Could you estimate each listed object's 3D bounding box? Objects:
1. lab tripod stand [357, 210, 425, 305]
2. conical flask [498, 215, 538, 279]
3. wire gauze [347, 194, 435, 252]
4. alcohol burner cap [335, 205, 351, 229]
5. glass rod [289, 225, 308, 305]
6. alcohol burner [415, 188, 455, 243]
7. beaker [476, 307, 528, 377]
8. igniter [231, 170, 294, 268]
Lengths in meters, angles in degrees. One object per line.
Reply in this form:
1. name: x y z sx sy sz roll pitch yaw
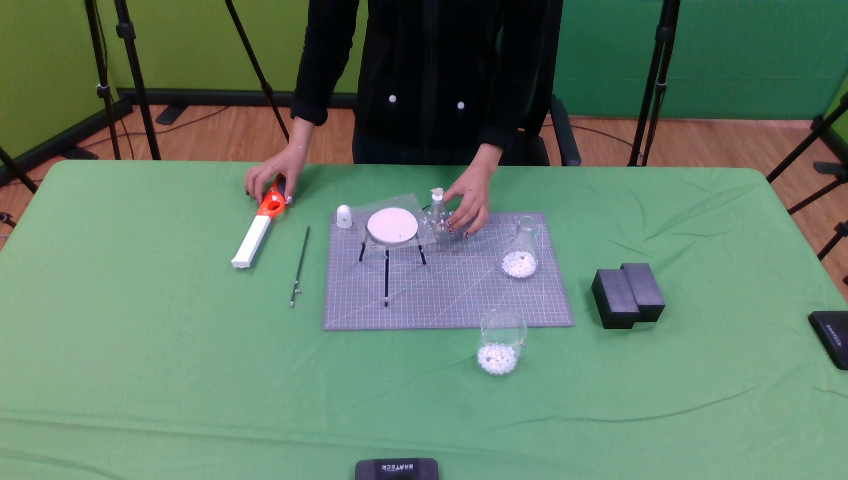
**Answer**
1. lab tripod stand: -0.060 0.020 1.094 0.148 0.132 0.147 3 44 -2
2. conical flask: 0.183 0.010 1.131 0.075 0.122 0.075 2 46 -2
3. wire gauze: -0.058 -0.029 1.048 0.125 0.011 0.120 -12 48 -16
4. alcohol burner cap: -0.164 -0.049 1.216 0.034 0.048 0.033 1 45 -1
5. glass rod: -0.236 0.043 1.149 0.008 0.008 0.198 3 46 -1
6. alcohol burner: 0.022 -0.052 1.185 0.078 0.120 0.077 1 46 -1
7. beaker: 0.122 0.171 0.991 0.084 0.101 0.073 -34 56 -30
8. igniter: -0.321 -0.051 1.220 0.057 0.025 0.275 2 45 11
